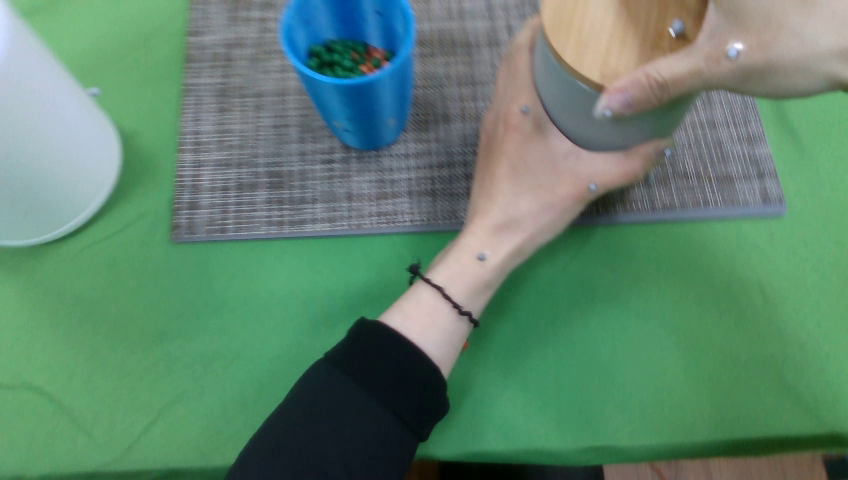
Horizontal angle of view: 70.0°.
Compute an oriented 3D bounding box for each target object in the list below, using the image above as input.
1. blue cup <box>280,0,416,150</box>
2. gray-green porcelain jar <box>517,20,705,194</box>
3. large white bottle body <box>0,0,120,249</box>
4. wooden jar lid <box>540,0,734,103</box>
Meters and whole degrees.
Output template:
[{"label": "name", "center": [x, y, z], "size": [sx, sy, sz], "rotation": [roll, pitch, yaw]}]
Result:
[{"label": "blue cup", "center": [-0.046, -0.114, 0.424], "size": [0.092, 0.101, 0.092], "rotation": [0, 69, 1]}, {"label": "gray-green porcelain jar", "center": [0.120, -0.098, 0.405], "size": [0.106, 0.127, 0.105], "rotation": [0, 68, 0]}, {"label": "large white bottle body", "center": [-0.290, -0.085, 0.369], "size": [0.130, 0.186, 0.129], "rotation": [0, 68, 0]}, {"label": "wooden jar lid", "center": [0.119, -0.121, 0.348], "size": [0.108, 0.021, 0.107], "rotation": [0, 65, 1]}]
